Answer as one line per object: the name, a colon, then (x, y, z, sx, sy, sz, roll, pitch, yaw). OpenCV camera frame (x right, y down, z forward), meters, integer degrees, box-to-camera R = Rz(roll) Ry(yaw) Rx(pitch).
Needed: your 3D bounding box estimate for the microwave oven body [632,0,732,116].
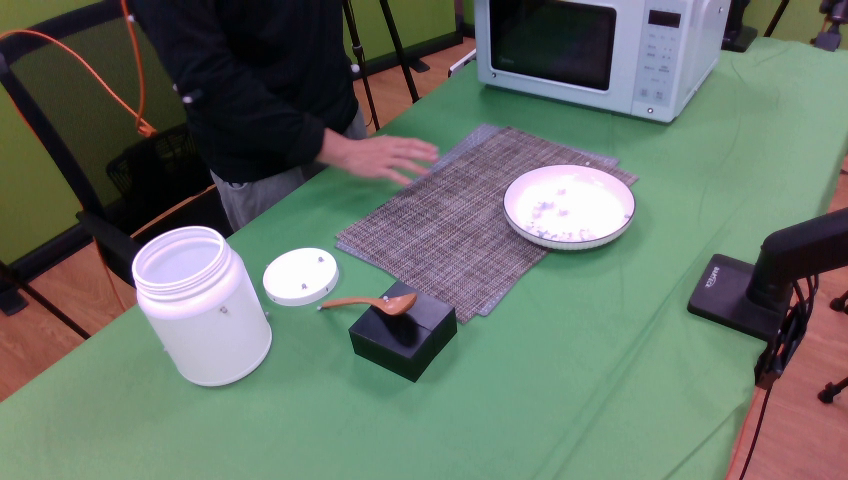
microwave oven body: (0.377, -0.462, 1.267, 0.438, 0.261, 0.327, 21, 48, 30)

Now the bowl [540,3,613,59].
bowl: (0.324, -0.442, 1.298, 0.151, 0.077, 0.150, -4, 41, 4)

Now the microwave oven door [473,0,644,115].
microwave oven door: (0.257, -0.396, 1.199, 0.353, 0.245, 0.039, 21, 48, 29)

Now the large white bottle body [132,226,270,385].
large white bottle body: (-0.286, 0.085, 0.784, 0.130, 0.185, 0.130, -4, 41, 4)

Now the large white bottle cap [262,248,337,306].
large white bottle cap: (-0.192, 0.056, 0.934, 0.115, 0.018, 0.114, -4, 41, 4)

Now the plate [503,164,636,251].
plate: (0.232, -0.050, 0.976, 0.209, 0.038, 0.208, -3, 41, 3)

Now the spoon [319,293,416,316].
spoon: (-0.082, 0.086, 0.826, 0.192, 0.022, 0.041, -3, 37, 41)

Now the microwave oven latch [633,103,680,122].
microwave oven latch: (0.444, -0.249, 1.157, 0.078, 0.029, 0.030, 21, 48, 30)
